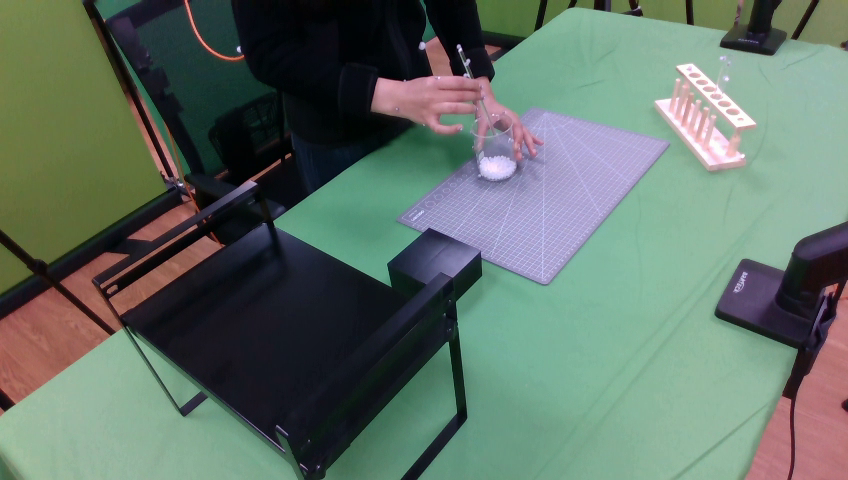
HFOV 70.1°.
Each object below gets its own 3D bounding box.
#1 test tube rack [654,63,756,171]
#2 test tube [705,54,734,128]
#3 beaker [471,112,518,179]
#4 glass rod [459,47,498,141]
[{"bbox_3d":[0.510,-0.233,1.120,0.067,0.085,0.241,-8,41,-1],"label":"test tube rack"},{"bbox_3d":[0.523,-0.260,1.073,0.017,0.151,0.017,-4,46,4],"label":"test tube"},{"bbox_3d":[0.128,-0.167,1.074,0.073,0.101,0.084,8,46,23],"label":"beaker"},{"bbox_3d":[0.091,-0.231,0.977,0.008,0.201,0.008,-13,50,17],"label":"glass rod"}]
